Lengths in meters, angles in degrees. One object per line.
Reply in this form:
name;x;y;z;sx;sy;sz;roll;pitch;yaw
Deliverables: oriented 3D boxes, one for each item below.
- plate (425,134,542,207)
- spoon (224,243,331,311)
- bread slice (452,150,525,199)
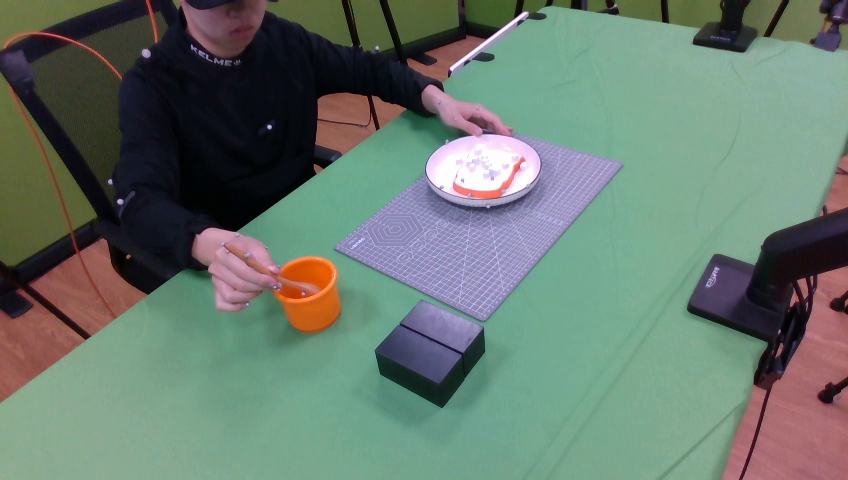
plate;0.106;-0.121;1.079;0.209;0.038;0.208;-4;40;4
spoon;-0.188;0.052;0.801;0.021;0.195;0.041;-54;46;1
bread slice;0.112;-0.118;1.079;0.104;0.019;0.131;12;43;21
